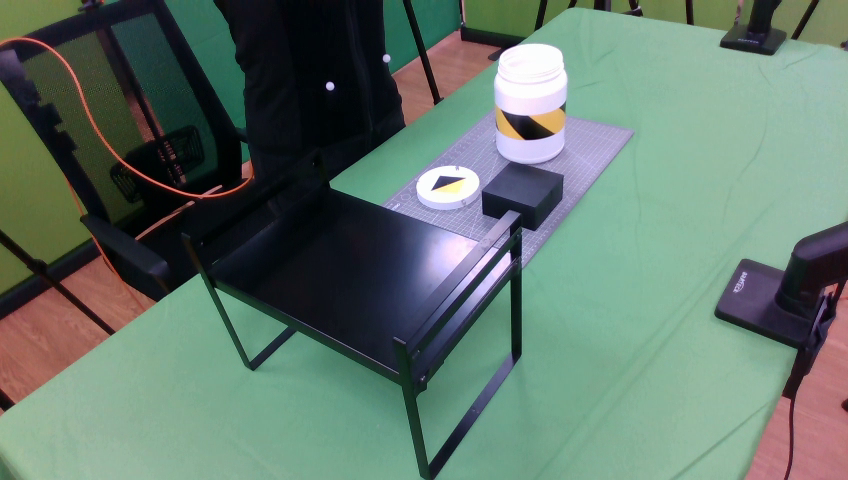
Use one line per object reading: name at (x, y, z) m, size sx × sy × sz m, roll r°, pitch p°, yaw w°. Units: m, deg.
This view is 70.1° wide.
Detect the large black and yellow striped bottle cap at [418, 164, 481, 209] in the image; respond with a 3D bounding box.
large black and yellow striped bottle cap at (0.045, -0.098, 1.085) m, size 0.115 × 0.019 × 0.114 m, roll -4°, pitch 42°, yaw 4°

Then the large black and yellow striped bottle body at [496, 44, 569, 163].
large black and yellow striped bottle body at (0.198, -0.250, 1.108) m, size 0.131 × 0.185 × 0.130 m, roll -4°, pitch 40°, yaw 4°
